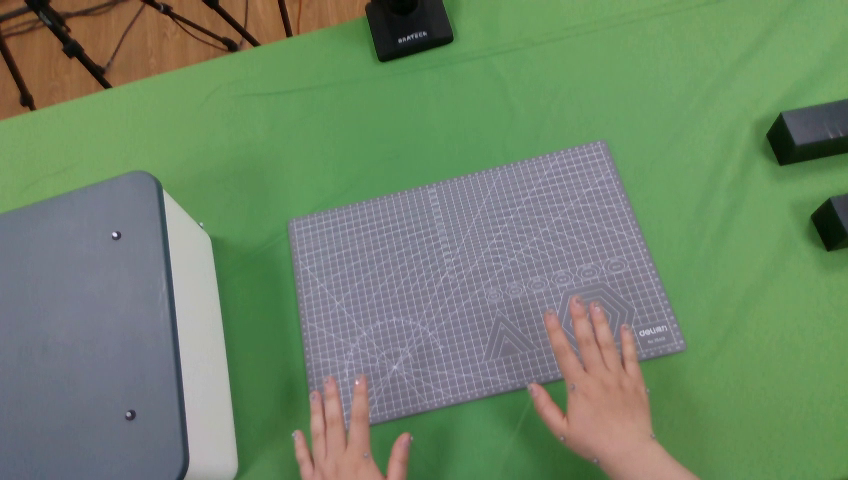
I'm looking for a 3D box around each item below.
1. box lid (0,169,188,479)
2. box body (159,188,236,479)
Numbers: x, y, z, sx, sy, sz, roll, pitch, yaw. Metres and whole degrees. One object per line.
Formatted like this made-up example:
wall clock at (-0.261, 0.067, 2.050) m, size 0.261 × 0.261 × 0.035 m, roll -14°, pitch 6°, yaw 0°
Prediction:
box lid at (-0.393, 0.108, 0.643) m, size 0.263 × 0.015 × 0.368 m, roll -17°, pitch 68°, yaw 1°
box body at (-0.383, 0.138, 0.711) m, size 0.254 × 0.161 × 0.361 m, roll -17°, pitch 67°, yaw 1°
